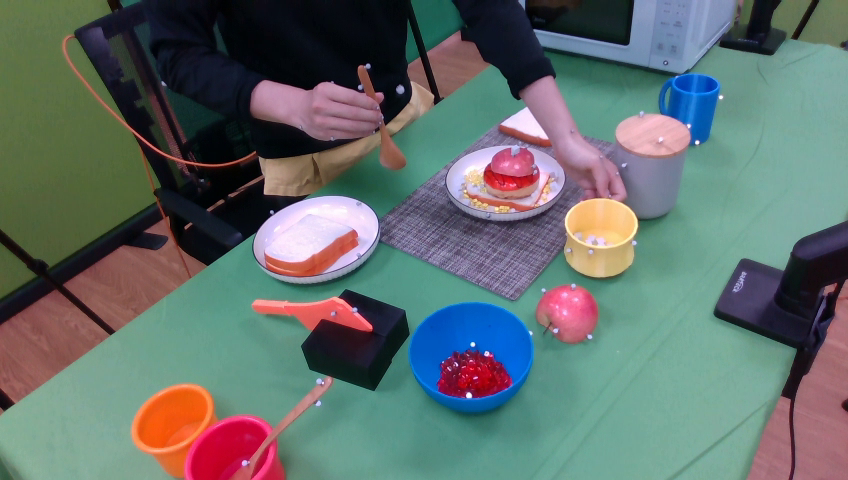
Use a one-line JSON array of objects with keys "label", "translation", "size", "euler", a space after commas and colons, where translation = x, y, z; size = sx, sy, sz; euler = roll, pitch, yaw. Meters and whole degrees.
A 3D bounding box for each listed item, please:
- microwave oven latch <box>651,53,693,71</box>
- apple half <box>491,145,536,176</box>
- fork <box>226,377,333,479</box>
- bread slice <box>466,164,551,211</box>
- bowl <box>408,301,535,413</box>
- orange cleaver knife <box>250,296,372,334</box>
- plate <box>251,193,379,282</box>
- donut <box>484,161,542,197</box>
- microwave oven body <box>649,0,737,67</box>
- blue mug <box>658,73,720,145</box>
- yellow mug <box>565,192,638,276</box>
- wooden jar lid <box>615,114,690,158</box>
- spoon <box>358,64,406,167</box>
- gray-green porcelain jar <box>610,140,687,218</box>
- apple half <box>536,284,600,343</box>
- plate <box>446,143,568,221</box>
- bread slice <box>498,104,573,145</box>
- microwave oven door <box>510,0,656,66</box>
[{"label": "microwave oven latch", "translation": [0.532, -0.386, 1.301], "size": [0.078, 0.029, 0.030], "euler": [27, 52, 34]}, {"label": "apple half", "translation": [0.148, -0.138, 0.994], "size": [0.081, 0.033, 0.081], "euler": [0, 37, 1]}, {"label": "fork", "translation": [-0.163, 0.216, 0.647], "size": [0.207, 0.019, 0.028], "euler": [-49, 42, 16]}, {"label": "bread slice", "translation": [0.141, -0.093, 1.042], "size": [0.133, 0.018, 0.107], "euler": [10, 43, 19]}, {"label": "bowl", "translation": [0.060, 0.156, 0.739], "size": [0.151, 0.077, 0.150], "euler": [-4, 40, 4]}, {"label": "orange cleaver knife", "translation": [-0.159, 0.103, 0.828], "size": [0.210, 0.078, 0.012], "euler": [-4, 43, 39]}, {"label": "plate", "translation": [-0.174, -0.001, 0.984], "size": [0.209, 0.038, 0.208], "euler": [-4, 40, 4]}, {"label": "donut", "translation": [0.149, -0.110, 1.016], "size": [0.099, 0.048, 0.098], "euler": [-5, 38, 4]}, {"label": "microwave oven body", "translation": [0.475, -0.602, 1.411], "size": [0.438, 0.261, 0.327], "euler": [23, 50, 32]}, {"label": "blue mug", "translation": [0.483, -0.250, 1.127], "size": [0.082, 0.106, 0.115], "euler": [-26, 44, -19]}, {"label": "yellow mug", "translation": [0.261, -0.018, 0.888], "size": [0.099, 0.064, 0.130], "euler": [7, 49, 18]}, {"label": "wooden jar lid", "translation": [0.347, -0.155, 0.923], "size": [0.108, 0.021, 0.108], "euler": [-3, 44, 4]}, {"label": "spoon", "translation": [-0.064, -0.169, 0.855], "size": [0.041, 0.195, 0.021], "euler": [-4, 49, 12]}, {"label": "gray-green porcelain jar", "translation": [0.354, -0.107, 0.964], "size": [0.106, 0.127, 0.105], "euler": [-4, 42, 4]}, {"label": "apple half", "translation": [0.196, 0.091, 0.815], "size": [0.075, 0.053, 0.080], "euler": [-22, 42, -20]}, {"label": "plate", "translation": [0.142, -0.096, 1.045], "size": [0.207, 0.039, 0.206], "euler": [-4, 41, 4]}, {"label": "bread slice", "translation": [0.231, -0.231, 1.205], "size": [0.105, 0.019, 0.130], "euler": [-36, 47, -28]}, {"label": "microwave oven door", "translation": [0.350, -0.539, 1.348], "size": [0.353, 0.245, 0.039], "euler": [24, 50, 31]}]
